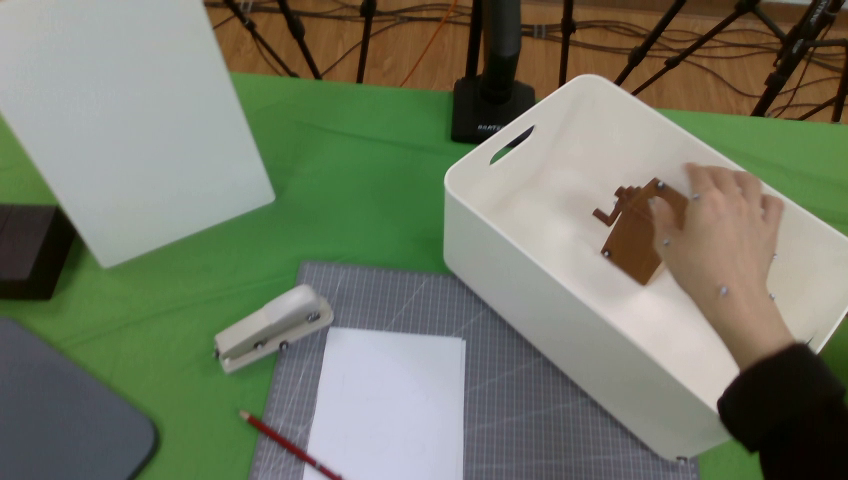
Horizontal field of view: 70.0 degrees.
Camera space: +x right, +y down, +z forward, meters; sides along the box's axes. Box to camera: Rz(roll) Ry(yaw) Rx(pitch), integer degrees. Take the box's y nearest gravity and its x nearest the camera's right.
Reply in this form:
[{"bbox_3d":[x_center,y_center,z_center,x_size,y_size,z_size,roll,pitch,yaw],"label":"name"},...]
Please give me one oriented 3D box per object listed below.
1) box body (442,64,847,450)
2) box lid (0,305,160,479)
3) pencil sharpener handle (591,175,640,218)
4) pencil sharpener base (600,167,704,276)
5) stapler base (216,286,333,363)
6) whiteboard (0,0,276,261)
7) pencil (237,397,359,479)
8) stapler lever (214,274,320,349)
[{"bbox_3d":[0.221,0.011,0.660,0.254,0.161,0.361,-39,68,-24],"label":"box body"},{"bbox_3d":[-0.464,0.253,0.560,0.262,0.015,0.370,29,61,14],"label":"box lid"},{"bbox_3d":[0.223,-0.057,0.714,0.030,0.068,0.036,41,48,21],"label":"pencil sharpener handle"},{"bbox_3d":[0.261,-0.021,0.709,0.061,0.108,0.076,-38,66,-25],"label":"pencil sharpener base"},{"bbox_3d":[-0.166,0.087,0.671,0.130,0.024,0.041,-26,59,-14],"label":"stapler base"},{"bbox_3d":[-0.334,-0.169,0.692,0.217,0.308,0.142,-25,43,-17],"label":"whiteboard"},{"bbox_3d":[-0.114,0.209,0.606,0.193,0.012,0.012,29,61,16],"label":"pencil"},{"bbox_3d":[-0.168,0.074,0.649,0.118,0.040,0.026,-26,58,-15],"label":"stapler lever"}]
